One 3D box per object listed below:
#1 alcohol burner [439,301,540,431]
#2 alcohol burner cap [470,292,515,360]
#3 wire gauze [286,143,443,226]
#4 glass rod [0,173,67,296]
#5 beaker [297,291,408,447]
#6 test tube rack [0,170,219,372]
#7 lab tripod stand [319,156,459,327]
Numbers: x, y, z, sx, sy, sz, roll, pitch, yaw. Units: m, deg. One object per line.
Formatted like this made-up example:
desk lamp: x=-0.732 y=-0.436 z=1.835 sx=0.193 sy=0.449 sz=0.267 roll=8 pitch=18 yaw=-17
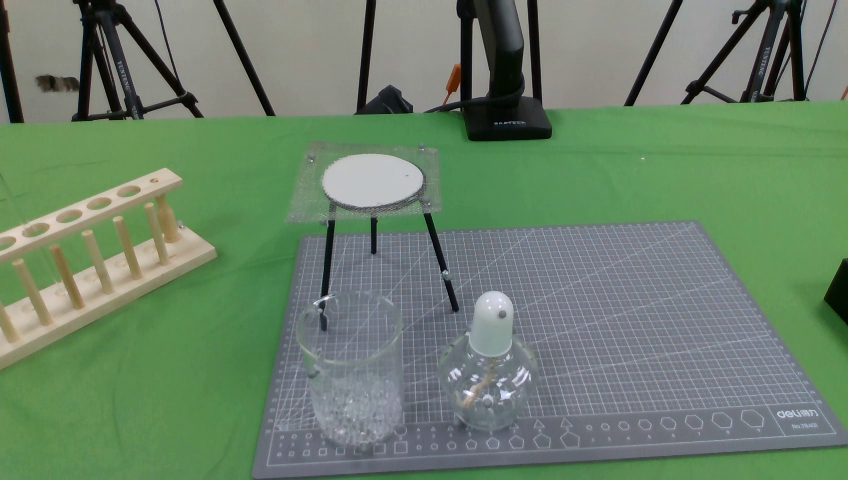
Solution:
alcohol burner: x=0.050 y=0.087 z=0.453 sx=0.078 sy=0.120 sz=0.077 roll=0 pitch=39 yaw=0
alcohol burner cap: x=0.050 y=0.058 z=0.432 sx=0.034 sy=0.048 sz=0.033 roll=1 pitch=38 yaw=-1
wire gauze: x=-0.046 y=-0.051 z=0.511 sx=0.121 sy=0.011 sz=0.124 roll=0 pitch=37 yaw=-1
glass rod: x=-0.361 y=-0.029 z=0.533 sx=0.008 sy=0.201 sz=0.008 roll=-5 pitch=34 yaw=4
beaker: x=-0.052 y=0.098 z=0.452 sx=0.083 sy=0.101 sz=0.074 roll=27 pitch=45 yaw=33
test tube rack: x=-0.325 y=0.026 z=0.570 sx=0.066 sy=0.086 sz=0.242 roll=29 pitch=45 yaw=34
lab tripod stand: x=-0.037 y=0.001 z=0.554 sx=0.148 sy=0.132 sz=0.147 roll=1 pitch=36 yaw=0
